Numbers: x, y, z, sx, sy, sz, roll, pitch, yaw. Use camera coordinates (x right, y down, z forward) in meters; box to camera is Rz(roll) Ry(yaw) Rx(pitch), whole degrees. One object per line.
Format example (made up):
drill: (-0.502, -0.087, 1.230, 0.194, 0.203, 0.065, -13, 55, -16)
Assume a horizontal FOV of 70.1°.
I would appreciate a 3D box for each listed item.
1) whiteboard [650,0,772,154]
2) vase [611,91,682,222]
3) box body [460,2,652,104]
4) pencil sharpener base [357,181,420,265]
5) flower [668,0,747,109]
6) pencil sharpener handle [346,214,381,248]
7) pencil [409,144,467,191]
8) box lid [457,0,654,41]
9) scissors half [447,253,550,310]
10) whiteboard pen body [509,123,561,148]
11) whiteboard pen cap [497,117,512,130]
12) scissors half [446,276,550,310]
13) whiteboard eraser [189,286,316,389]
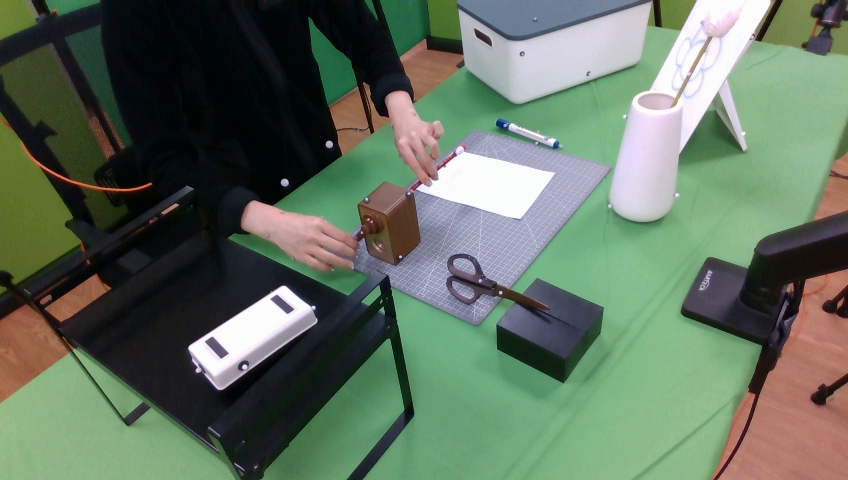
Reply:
whiteboard: (0.543, -0.298, 1.076, 0.144, 0.305, 0.216, 12, 40, -7)
vase: (0.348, -0.125, 0.935, 0.098, 0.201, 0.097, -3, 40, 3)
box body: (0.291, -0.465, 1.371, 0.365, 0.161, 0.252, -22, 42, -16)
pencil sharpener base: (-0.055, -0.024, 0.941, 0.061, 0.107, 0.077, 22, 48, 29)
flower: (0.354, -0.187, 0.879, 0.038, 0.362, 0.044, 30, 48, 14)
pencil sharpener handle: (-0.094, -0.010, 0.905, 0.036, 0.067, 0.031, 46, 54, -2)
pencil: (0.011, -0.109, 0.989, 0.012, 0.012, 0.194, 24, 49, 31)
box lid: (0.285, -0.522, 1.323, 0.373, 0.015, 0.261, -22, 43, -16)
scissors half: (0.098, 0.058, 0.821, 0.173, 0.040, 0.013, 27, 33, 37)
whiteboard pen body: (0.209, -0.212, 1.195, 0.139, 0.017, 0.017, 30, 52, 33)
whiteboard pen cap: (0.165, -0.235, 1.227, 0.033, 0.018, 0.018, 31, 53, 31)
scissors half: (0.098, 0.077, 0.827, 0.174, 0.040, 0.013, 6, 14, 44)
whiteboard eraser: (-0.166, 0.096, 0.593, 0.113, 0.042, 0.055, -36, 47, -29)
